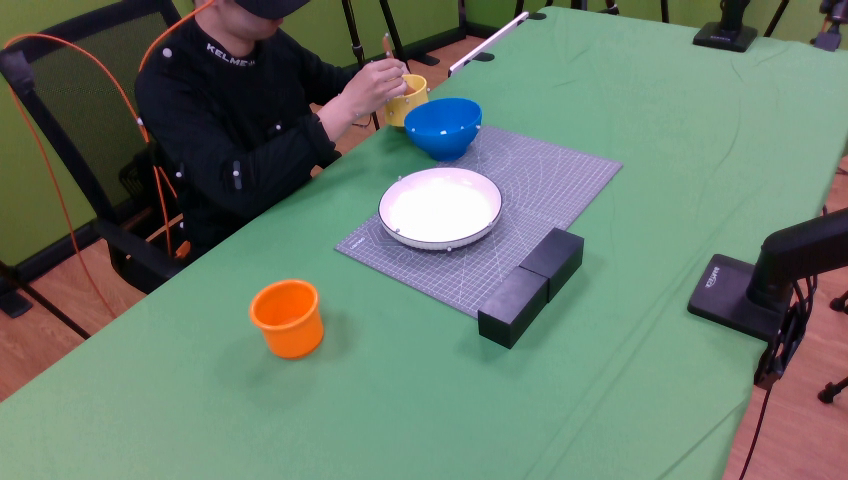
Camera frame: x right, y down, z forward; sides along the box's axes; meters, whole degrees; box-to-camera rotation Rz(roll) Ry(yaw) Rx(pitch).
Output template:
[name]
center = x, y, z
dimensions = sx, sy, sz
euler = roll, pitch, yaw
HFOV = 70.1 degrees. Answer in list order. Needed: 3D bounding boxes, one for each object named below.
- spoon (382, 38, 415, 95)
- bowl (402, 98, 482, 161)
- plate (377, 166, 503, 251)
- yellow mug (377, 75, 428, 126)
[spoon]
center = -0.047, -0.316, 1.169
dimensions = 0.021, 0.195, 0.041
euler = 32, 76, 33
[bowl]
center = 0.040, -0.203, 1.154
dimensions = 0.151, 0.077, 0.150
euler = -7, 38, 6
[plate]
center = 0.027, -0.050, 1.007
dimensions = 0.209, 0.038, 0.208
euler = -4, 41, 4
[yellow mug]
center = -0.044, -0.294, 1.242
dimensions = 0.100, 0.064, 0.130
euler = -20, 39, -8
